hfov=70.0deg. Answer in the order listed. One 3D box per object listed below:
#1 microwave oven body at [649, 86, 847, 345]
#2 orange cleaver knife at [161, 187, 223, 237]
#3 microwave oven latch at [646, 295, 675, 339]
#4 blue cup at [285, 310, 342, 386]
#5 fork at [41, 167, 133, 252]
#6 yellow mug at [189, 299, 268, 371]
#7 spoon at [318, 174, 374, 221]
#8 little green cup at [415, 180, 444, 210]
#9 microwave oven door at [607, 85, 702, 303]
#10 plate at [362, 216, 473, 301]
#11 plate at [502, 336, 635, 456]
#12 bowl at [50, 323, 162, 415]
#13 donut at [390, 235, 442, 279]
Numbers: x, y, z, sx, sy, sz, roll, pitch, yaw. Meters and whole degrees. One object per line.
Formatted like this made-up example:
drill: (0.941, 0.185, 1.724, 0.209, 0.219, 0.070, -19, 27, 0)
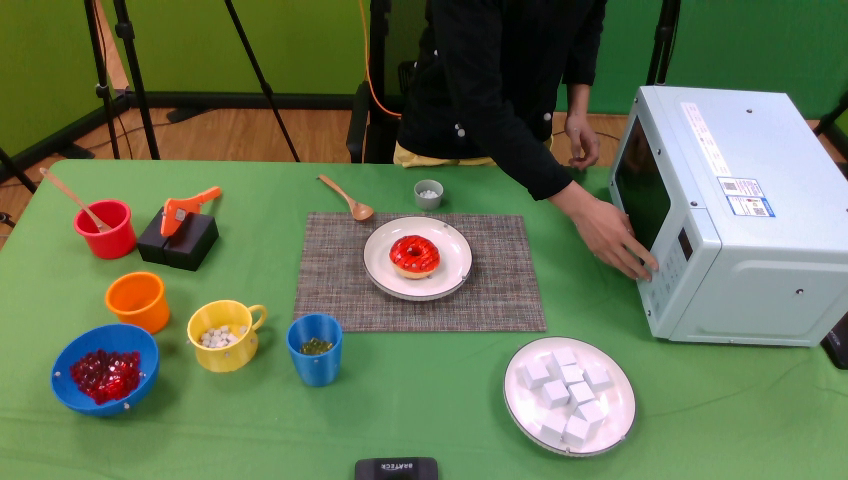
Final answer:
microwave oven body: (0.568, -0.053, 1.118, 0.326, 0.261, 0.439, 2, 45, -1)
orange cleaver knife: (-0.448, -0.058, 1.181, 0.012, 0.077, 0.211, 13, 17, 6)
microwave oven latch: (0.412, 0.134, 1.061, 0.030, 0.029, 0.078, 4, 45, 1)
blue cup: (-0.169, 0.179, 0.958, 0.093, 0.101, 0.092, 1, 44, -1)
fork: (-0.624, -0.056, 1.121, 0.208, 0.018, 0.028, 49, 52, -15)
yellow mug: (-0.316, 0.148, 1.002, 0.131, 0.064, 0.099, -32, 56, -31)
spoon: (-0.169, -0.095, 1.274, 0.041, 0.022, 0.192, -39, 56, -15)
little green cup: (0.010, -0.094, 1.278, 0.061, 0.039, 0.061, 2, 47, -2)
microwave oven door: (0.424, -0.094, 1.141, 0.039, 0.245, 0.353, 2, 46, -1)
plate: (-0.012, 0.038, 1.144, 0.209, 0.038, 0.208, 2, 46, -2)
plate: (0.225, 0.248, 0.963, 0.208, 0.039, 0.206, 2, 46, -2)
bowl: (-0.472, 0.209, 0.924, 0.151, 0.077, 0.150, 2, 45, -2)
donut: (-0.016, 0.032, 1.135, 0.099, 0.048, 0.098, 3, 44, -3)
